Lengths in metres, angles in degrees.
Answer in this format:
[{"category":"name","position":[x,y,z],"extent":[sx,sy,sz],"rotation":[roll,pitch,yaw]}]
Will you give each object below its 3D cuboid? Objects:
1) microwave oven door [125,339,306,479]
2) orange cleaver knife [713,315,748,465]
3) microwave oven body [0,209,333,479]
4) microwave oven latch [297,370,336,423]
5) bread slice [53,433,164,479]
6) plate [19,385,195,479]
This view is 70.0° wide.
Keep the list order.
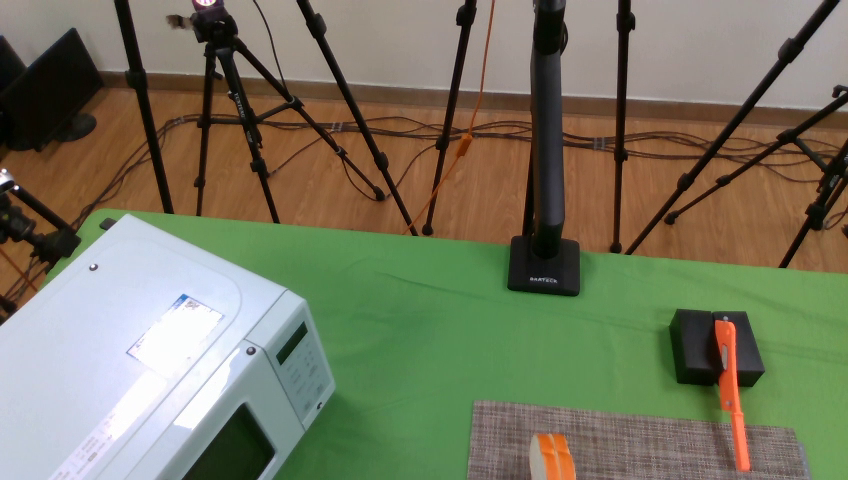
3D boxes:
[{"category":"microwave oven door","position":[-0.274,0.308,0.679],"extent":[0.039,0.246,0.354],"rotation":[22,56,20]},{"category":"orange cleaver knife","position":[0.426,0.204,0.849],"extent":[0.012,0.077,0.210],"rotation":[0,72,6]},{"category":"microwave oven body","position":[-0.380,0.231,0.753],"extent":[0.324,0.262,0.440],"rotation":[23,56,19]},{"category":"microwave oven latch","position":[-0.159,0.222,0.873],"extent":[0.030,0.030,0.079],"rotation":[24,57,20]},{"category":"bread slice","position":[-0.397,0.313,0.766],"extent":[0.135,0.018,0.106],"rotation":[-11,50,-19]},{"category":"plate","position":[-0.399,0.288,0.778],"extent":[0.208,0.039,0.205],"rotation":[1,50,-1]}]
